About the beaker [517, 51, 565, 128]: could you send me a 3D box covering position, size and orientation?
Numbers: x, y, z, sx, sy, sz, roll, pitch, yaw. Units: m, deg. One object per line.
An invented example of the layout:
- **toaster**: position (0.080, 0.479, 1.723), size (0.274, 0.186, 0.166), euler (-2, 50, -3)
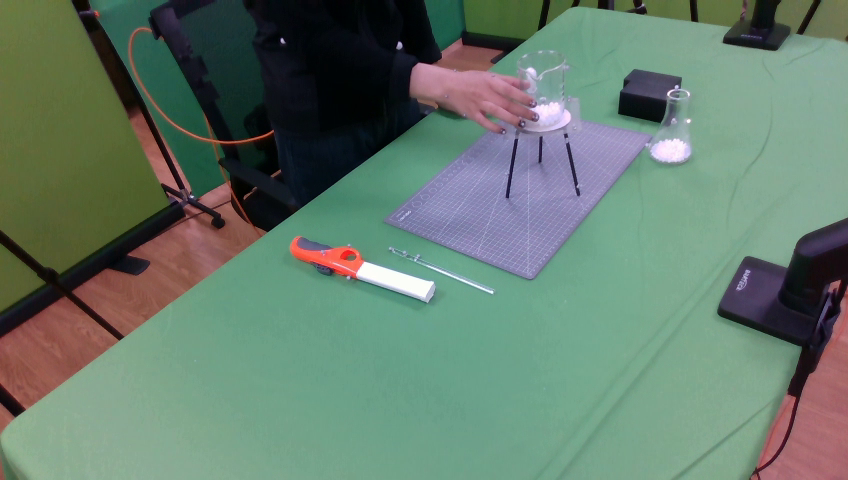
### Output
- **beaker**: position (0.187, -0.235, 0.957), size (0.073, 0.101, 0.084), euler (4, 42, 19)

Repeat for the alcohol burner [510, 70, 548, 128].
- **alcohol burner**: position (0.209, -0.287, 1.207), size (0.078, 0.119, 0.077), euler (-5, 42, 5)

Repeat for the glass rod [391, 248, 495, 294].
- **glass rod**: position (0.026, 0.046, 0.936), size (0.198, 0.008, 0.008), euler (22, 50, 32)

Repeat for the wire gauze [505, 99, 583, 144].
- **wire gauze**: position (0.195, -0.199, 0.988), size (0.121, 0.011, 0.124), euler (-3, 41, 13)

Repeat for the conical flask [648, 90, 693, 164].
- **conical flask**: position (0.437, -0.199, 1.057), size (0.075, 0.122, 0.075), euler (-5, 40, 5)

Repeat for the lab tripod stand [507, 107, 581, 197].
- **lab tripod stand**: position (0.201, -0.151, 1.033), size (0.148, 0.132, 0.147), euler (-7, 39, 6)

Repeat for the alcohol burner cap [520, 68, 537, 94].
- **alcohol burner cap**: position (0.205, -0.313, 1.183), size (0.034, 0.048, 0.033), euler (-3, 50, 4)

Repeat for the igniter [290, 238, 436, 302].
- **igniter**: position (-0.106, 0.044, 0.949), size (0.274, 0.025, 0.057), euler (16, 56, 27)
